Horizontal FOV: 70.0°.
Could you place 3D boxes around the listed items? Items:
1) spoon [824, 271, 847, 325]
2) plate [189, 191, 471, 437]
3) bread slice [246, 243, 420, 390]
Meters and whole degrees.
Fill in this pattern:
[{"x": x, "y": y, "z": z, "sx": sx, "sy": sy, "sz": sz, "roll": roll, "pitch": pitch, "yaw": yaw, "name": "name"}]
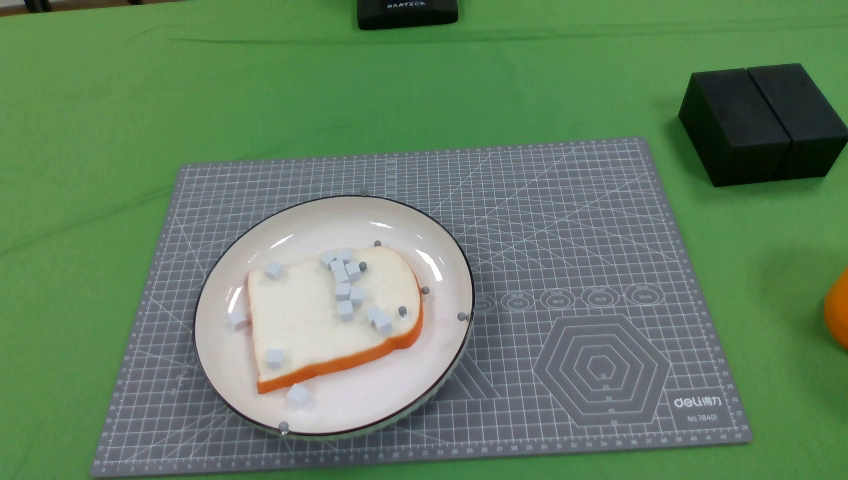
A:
[{"x": 0.364, "y": 0.010, "z": 0.394, "sx": 0.193, "sy": 0.022, "sz": 0.041, "roll": -29, "pitch": 41, "yaw": 33, "name": "spoon"}, {"x": -0.068, "y": 0.051, "z": 0.460, "sx": 0.209, "sy": 0.038, "sz": 0.207, "roll": -1, "pitch": 53, "yaw": 2, "name": "plate"}, {"x": -0.070, "y": 0.048, "z": 0.465, "sx": 0.132, "sy": 0.019, "sz": 0.103, "roll": -16, "pitch": 54, "yaw": -7, "name": "bread slice"}]
